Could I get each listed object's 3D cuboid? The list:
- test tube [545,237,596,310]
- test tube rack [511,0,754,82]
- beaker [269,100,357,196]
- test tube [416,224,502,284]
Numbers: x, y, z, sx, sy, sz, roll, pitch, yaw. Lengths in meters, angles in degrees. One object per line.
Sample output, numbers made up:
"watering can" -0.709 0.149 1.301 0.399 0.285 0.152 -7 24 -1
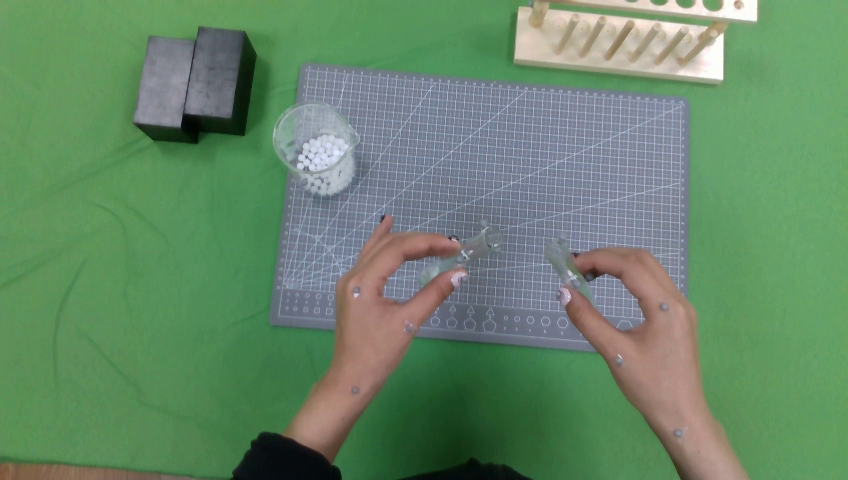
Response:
"test tube" 0.114 0.029 0.459 0.017 0.152 0.017 -8 67 20
"test tube rack" 0.226 -0.237 0.675 0.242 0.085 0.066 5 80 -1
"beaker" -0.108 -0.091 0.629 0.084 0.100 0.073 -3 80 -3
"test tube" 0.022 0.015 0.473 0.017 0.150 0.017 5 74 -18
